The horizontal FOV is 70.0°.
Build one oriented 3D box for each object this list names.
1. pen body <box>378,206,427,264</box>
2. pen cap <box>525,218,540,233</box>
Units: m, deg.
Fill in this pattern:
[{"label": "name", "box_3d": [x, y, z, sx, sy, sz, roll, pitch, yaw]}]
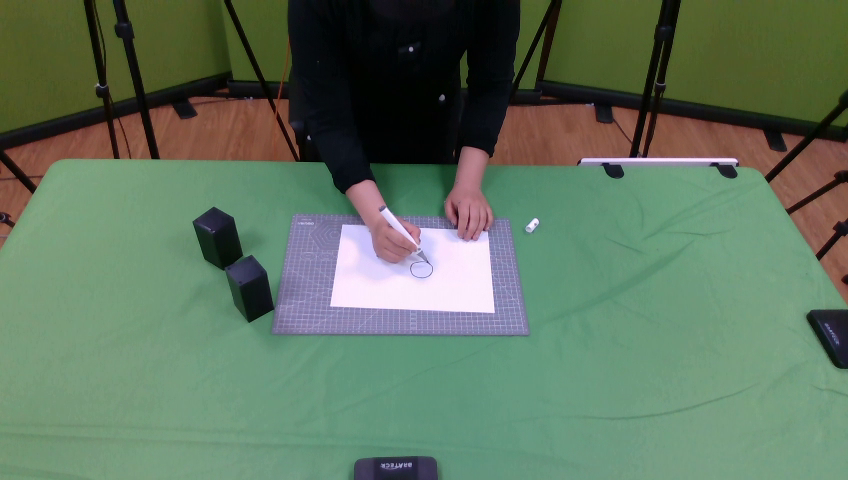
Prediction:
[{"label": "pen body", "box_3d": [-0.037, -0.006, 1.131, 0.017, 0.145, 0.017, -34, 21, 15]}, {"label": "pen cap", "box_3d": [0.224, -0.031, 1.248, 0.017, 0.017, 0.038, 30, 51, 23]}]
